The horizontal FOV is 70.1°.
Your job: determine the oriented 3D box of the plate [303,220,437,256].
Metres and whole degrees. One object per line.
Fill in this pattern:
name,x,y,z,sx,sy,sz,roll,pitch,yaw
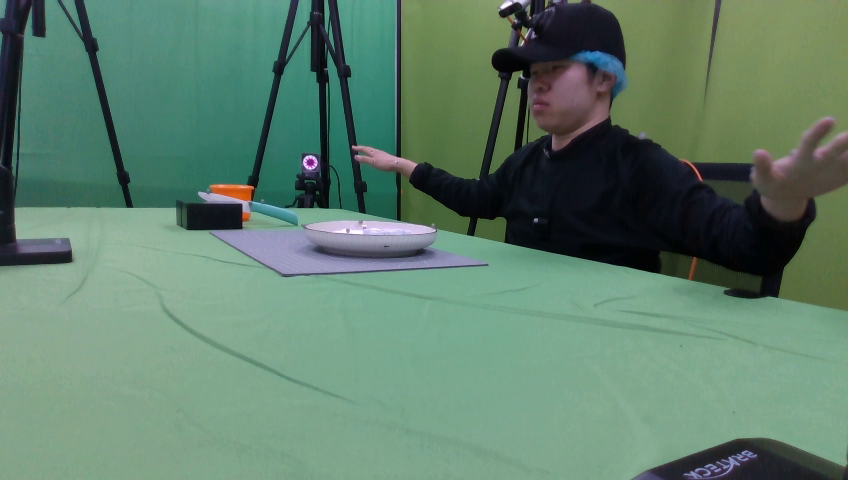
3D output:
plate,-0.084,-0.003,0.951,0.209,0.038,0.209,3,7,0

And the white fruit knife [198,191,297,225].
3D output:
white fruit knife,-0.351,-0.068,1.224,0.208,0.027,0.016,15,-1,-33

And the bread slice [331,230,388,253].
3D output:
bread slice,-0.088,0.000,0.947,0.105,0.019,0.131,-4,11,-44
